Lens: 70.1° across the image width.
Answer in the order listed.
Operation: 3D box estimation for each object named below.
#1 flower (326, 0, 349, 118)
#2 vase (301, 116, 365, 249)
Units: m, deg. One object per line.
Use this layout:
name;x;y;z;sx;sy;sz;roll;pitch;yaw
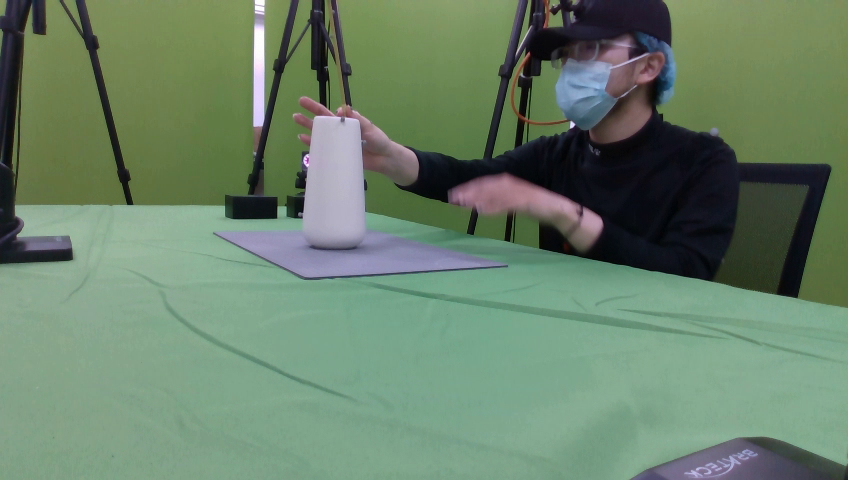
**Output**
flower;-0.129;-0.247;0.928;0.044;0.361;0.038;-19;18;-38
vase;-0.139;-0.088;0.930;0.098;0.200;0.098;2;9;0
